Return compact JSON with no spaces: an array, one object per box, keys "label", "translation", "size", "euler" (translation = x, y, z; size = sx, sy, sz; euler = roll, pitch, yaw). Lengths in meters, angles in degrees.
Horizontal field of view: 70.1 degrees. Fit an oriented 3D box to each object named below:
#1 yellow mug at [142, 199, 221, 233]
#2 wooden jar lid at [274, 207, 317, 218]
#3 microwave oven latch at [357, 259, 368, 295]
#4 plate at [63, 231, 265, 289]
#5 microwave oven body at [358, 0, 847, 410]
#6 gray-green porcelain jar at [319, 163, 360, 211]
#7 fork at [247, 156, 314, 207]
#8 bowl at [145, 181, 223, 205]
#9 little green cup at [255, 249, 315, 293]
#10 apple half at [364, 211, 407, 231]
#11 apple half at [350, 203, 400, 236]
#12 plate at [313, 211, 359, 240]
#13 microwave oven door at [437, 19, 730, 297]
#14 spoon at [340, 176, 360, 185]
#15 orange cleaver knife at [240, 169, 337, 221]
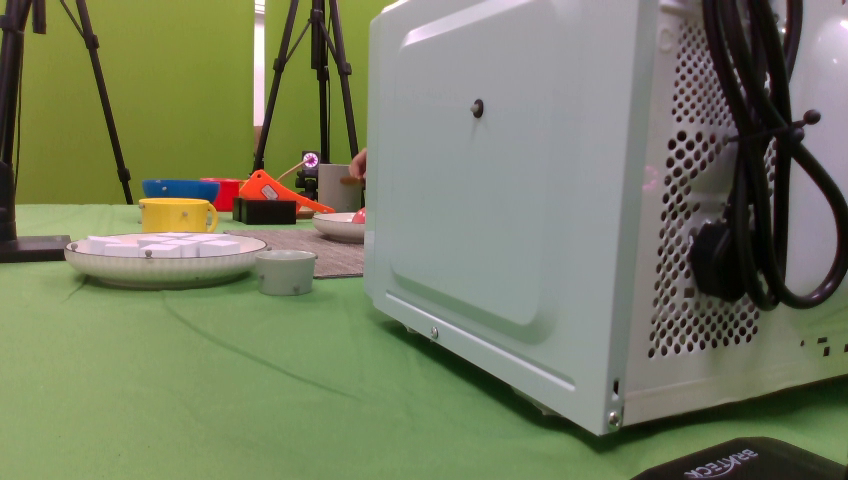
[{"label":"yellow mug","translation":[-0.373,-0.030,0.948],"size":[0.099,0.064,0.131],"euler":[6,8,30]},{"label":"wooden jar lid","translation":[-0.303,-0.065,1.409],"size":[0.108,0.020,0.108],"euler":[3,9,0]},{"label":"microwave oven latch","translation":[-0.019,0.031,0.529],"size":[0.079,0.029,0.030],"euler":[-1,7,-26]},{"label":"plate","translation":[-0.288,0.021,0.687],"size":[0.208,0.039,0.207],"euler":[2,8,0]},{"label":"microwave oven body","translation":[0.210,-0.051,0.471],"size":[0.444,0.260,0.324],"euler":[-1,7,-28]},{"label":"gray-green porcelain jar","translation":[-0.205,-0.126,1.490],"size":[0.106,0.126,0.106],"euler":[2,7,0]},{"label":"fork","translation":[-0.360,-0.147,1.523],"size":[0.207,0.018,0.028],"euler":[-43,15,-7]},{"label":"bowl","translation":[-0.499,-0.081,1.261],"size":[0.151,0.077,0.151],"euler":[2,8,0]},{"label":"little green cup","translation":[-0.144,0.032,0.627],"size":[0.061,0.038,0.061],"euler":[2,6,0]},{"label":"apple half","translation":[-0.068,-0.037,1.104],"size":[0.081,0.033,0.081],"euler":[-1,9,0]},{"label":"apple half","translation":[-0.081,-0.036,1.024],"size":[0.081,0.053,0.074],"euler":[-2,11,-34]},{"label":"plate","translation":[-0.091,-0.026,1.063],"size":[0.209,0.038,0.209],"euler":[2,7,0]},{"label":"microwave oven door","translation":[0.180,-0.076,0.618],"size":[0.358,0.243,0.039],"euler":[-2,9,-28]},{"label":"spoon","translation":[-0.136,-0.133,1.316],"size":[0.041,0.021,0.194],"euler":[-9,7,13]},{"label":"orange cleaver knife","translation":[-0.287,-0.081,1.298],"size":[0.212,0.077,0.012],"euler":[25,-3,-31]}]
